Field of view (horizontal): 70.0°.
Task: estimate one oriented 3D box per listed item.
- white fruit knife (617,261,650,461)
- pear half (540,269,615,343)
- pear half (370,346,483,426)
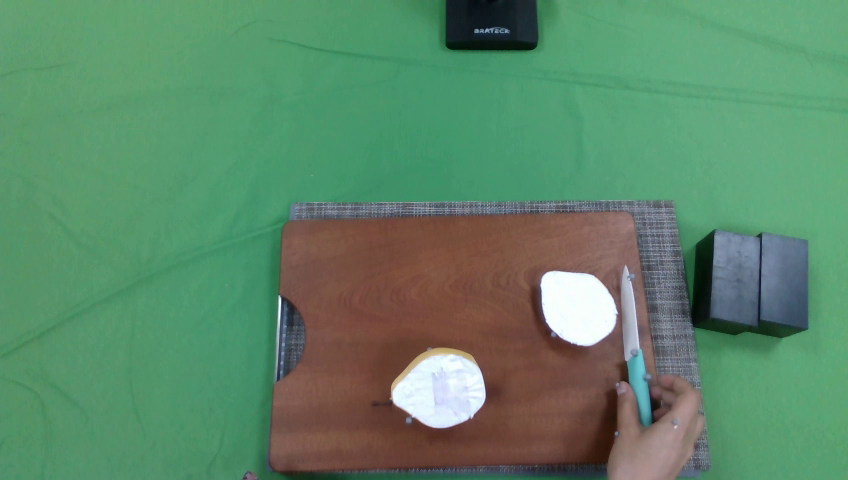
[{"bbox_3d":[0.214,0.120,0.628,0.016,0.027,0.206,10,70,-25],"label":"white fruit knife"},{"bbox_3d":[0.159,0.068,0.640,0.070,0.031,0.087,-42,65,3],"label":"pear half"},{"bbox_3d":[0.000,0.145,0.603,0.110,0.056,0.076,-8,90,-5],"label":"pear half"}]
